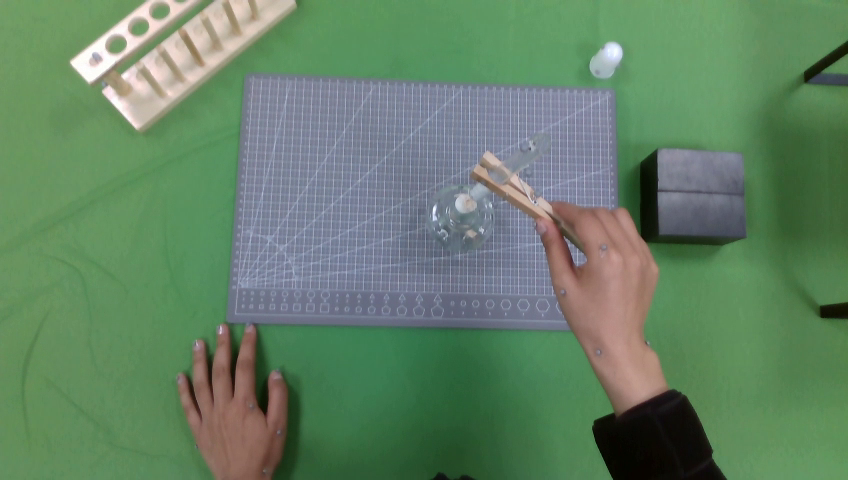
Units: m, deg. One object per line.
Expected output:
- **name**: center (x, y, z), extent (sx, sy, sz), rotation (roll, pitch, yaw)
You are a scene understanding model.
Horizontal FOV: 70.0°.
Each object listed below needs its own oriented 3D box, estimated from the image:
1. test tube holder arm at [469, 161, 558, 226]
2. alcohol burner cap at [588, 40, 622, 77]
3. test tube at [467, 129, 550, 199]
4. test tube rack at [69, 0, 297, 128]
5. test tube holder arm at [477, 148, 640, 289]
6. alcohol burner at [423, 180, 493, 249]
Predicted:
- **test tube holder arm**: center (0.077, -0.039, 0.516), extent (0.088, 0.015, 0.010), rotation (32, 78, -6)
- **alcohol burner cap**: center (0.222, -0.223, 0.736), extent (0.034, 0.048, 0.033), rotation (1, 80, -3)
- **test tube**: center (0.065, -0.058, 0.499), extent (0.017, 0.150, 0.017), rotation (3, 79, -14)
- **test tube rack**: center (-0.264, -0.242, 0.688), extent (0.242, 0.085, 0.066), rotation (-43, 85, -9)
- **test tube holder arm**: center (0.117, -0.017, 0.521), extent (0.179, 0.015, 0.013), rotation (38, 78, -4)
- **alcohol burner**: center (0.039, -0.032, 0.654), extent (0.078, 0.119, 0.077), rotation (1, 79, -5)
